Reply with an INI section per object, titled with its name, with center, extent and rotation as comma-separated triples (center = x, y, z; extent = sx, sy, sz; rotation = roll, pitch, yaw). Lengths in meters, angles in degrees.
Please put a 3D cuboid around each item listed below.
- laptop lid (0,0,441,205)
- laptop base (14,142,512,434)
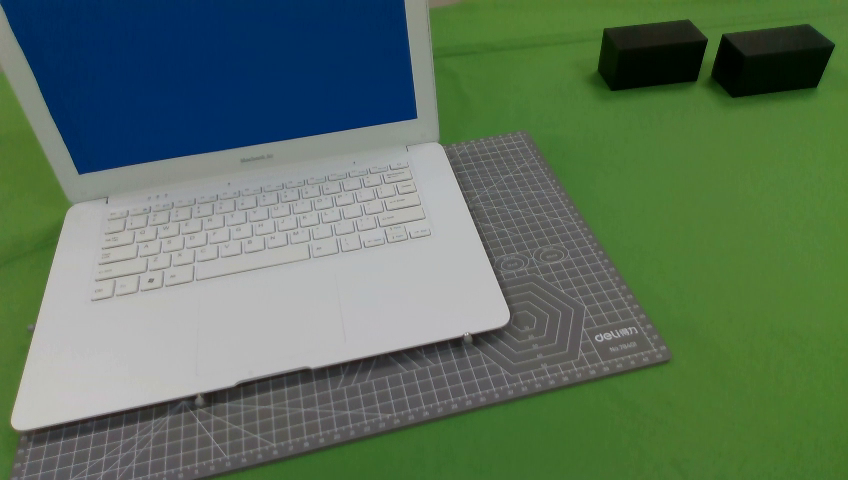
[laptop lid]
center = -0.165, -0.156, 0.520
extent = 0.357, 0.244, 0.013
rotation = -12, 35, -6
[laptop base]
center = -0.129, 0.021, 0.506
extent = 0.355, 0.023, 0.233
rotation = -11, 48, -7
